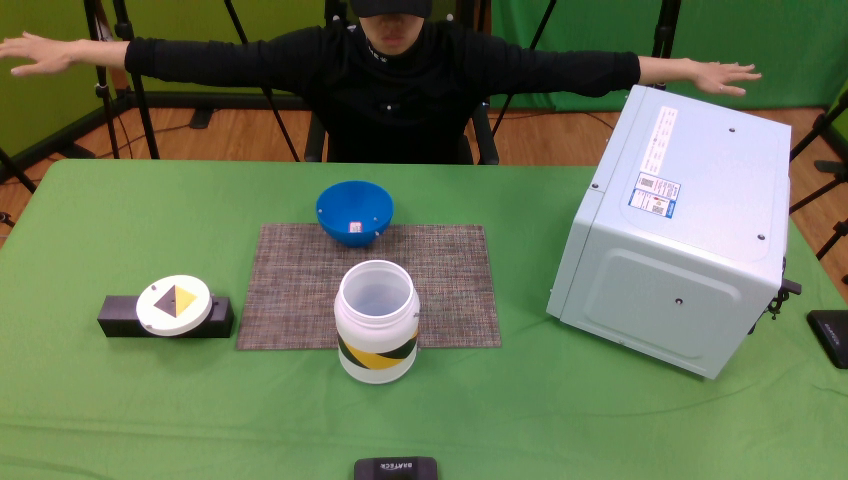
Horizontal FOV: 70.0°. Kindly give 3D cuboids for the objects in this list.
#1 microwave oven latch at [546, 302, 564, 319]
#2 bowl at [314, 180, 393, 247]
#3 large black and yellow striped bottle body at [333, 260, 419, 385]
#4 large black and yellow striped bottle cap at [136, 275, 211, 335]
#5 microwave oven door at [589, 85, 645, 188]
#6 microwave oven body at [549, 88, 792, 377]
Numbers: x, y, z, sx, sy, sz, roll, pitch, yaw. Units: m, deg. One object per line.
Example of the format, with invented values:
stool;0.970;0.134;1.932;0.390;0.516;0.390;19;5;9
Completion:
microwave oven latch;0.242;0.102;1.081;0.030;0.029;0.079;21;48;17
bowl;-0.135;-0.039;1.180;0.151;0.077;0.150;3;46;-2
large black and yellow striped bottle body;-0.075;0.129;0.950;0.131;0.185;0.130;2;49;-2
large black and yellow striped bottle cap;-0.412;0.105;0.999;0.115;0.019;0.114;3;46;-3
microwave oven door;0.341;-0.107;1.149;0.039;0.245;0.354;20;48;15
microwave oven body;0.456;-0.028;1.088;0.325;0.261;0.440;20;47;16
